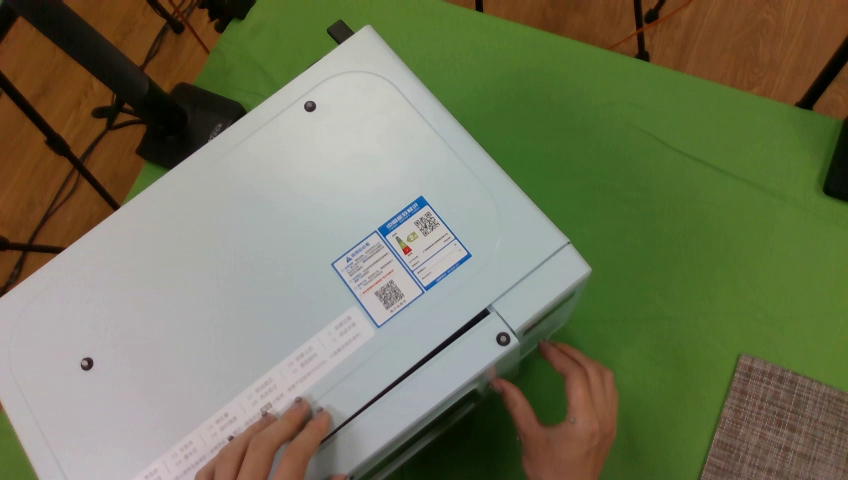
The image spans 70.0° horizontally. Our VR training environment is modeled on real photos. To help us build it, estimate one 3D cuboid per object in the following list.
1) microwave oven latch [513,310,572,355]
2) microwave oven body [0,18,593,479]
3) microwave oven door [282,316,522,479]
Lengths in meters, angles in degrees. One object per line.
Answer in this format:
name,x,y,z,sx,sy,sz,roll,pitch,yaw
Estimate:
microwave oven latch,0.124,0.093,0.663,0.079,0.030,0.030,-37,72,-3
microwave oven body,-0.118,0.067,0.603,0.441,0.262,0.324,-39,73,-3
microwave oven door,-0.061,0.201,0.550,0.356,0.245,0.039,-37,71,-4
